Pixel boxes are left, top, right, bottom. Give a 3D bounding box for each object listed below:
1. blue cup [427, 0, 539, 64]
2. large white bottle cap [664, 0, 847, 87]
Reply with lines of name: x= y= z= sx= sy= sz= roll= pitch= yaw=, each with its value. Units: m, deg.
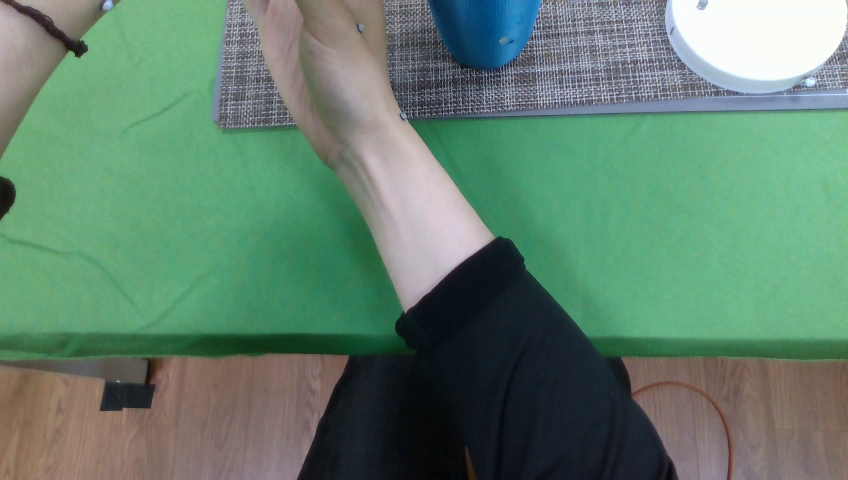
blue cup: x=0.038 y=-0.166 z=0.390 sx=0.092 sy=0.101 sz=0.092 roll=-2 pitch=74 yaw=7
large white bottle cap: x=0.226 y=-0.160 z=0.415 sx=0.115 sy=0.018 sz=0.114 roll=-1 pitch=74 yaw=5
